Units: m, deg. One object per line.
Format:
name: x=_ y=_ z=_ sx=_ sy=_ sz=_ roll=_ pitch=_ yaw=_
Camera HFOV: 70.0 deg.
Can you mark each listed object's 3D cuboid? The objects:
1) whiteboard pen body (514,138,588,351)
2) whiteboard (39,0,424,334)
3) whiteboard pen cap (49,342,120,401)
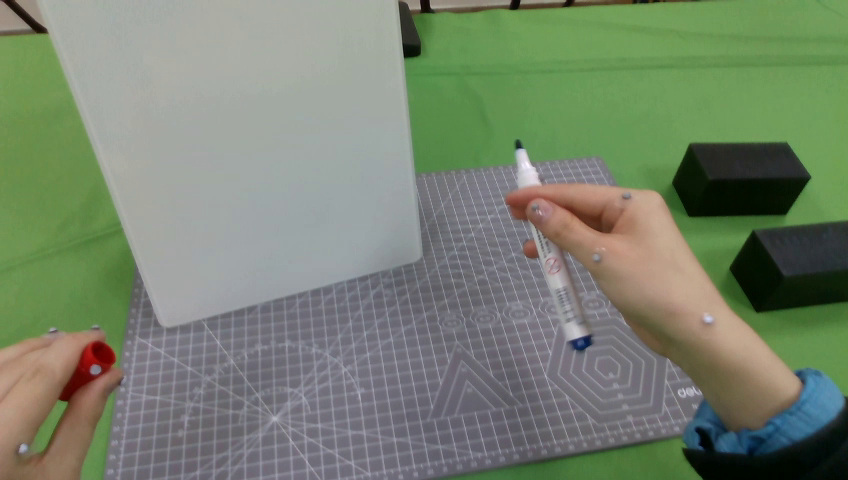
whiteboard pen body: x=0.076 y=0.000 z=0.379 sx=0.017 sy=0.017 sz=0.140 roll=-11 pitch=76 yaw=-13
whiteboard: x=-0.135 y=-0.116 z=0.473 sx=0.218 sy=0.308 sz=0.142 roll=-14 pitch=31 yaw=-15
whiteboard pen cap: x=-0.171 y=0.066 z=0.306 sx=0.032 sy=0.017 sz=0.017 roll=-34 pitch=53 yaw=6
